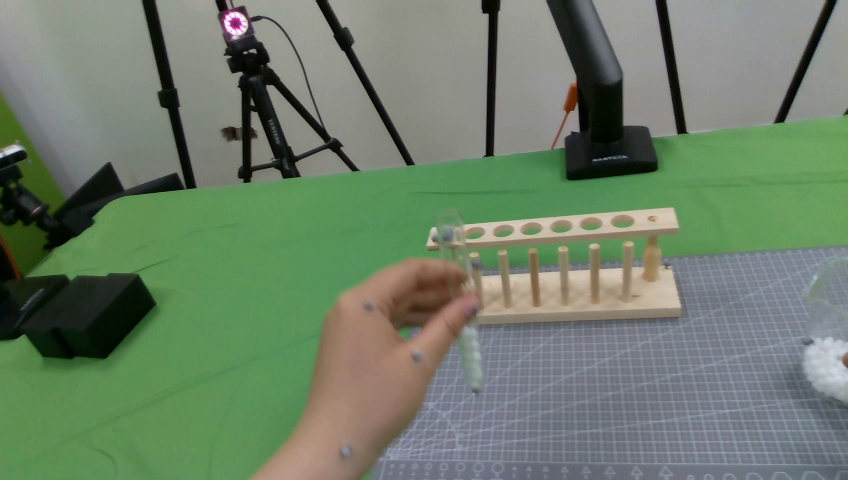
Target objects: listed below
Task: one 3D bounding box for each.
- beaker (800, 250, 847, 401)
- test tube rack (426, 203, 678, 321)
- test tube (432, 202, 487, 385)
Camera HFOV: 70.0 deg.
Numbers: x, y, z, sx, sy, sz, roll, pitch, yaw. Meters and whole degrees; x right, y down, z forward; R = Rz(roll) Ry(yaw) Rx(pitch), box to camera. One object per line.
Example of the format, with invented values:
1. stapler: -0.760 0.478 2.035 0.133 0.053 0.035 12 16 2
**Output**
1. beaker: 0.332 0.069 0.465 0.084 0.101 0.073 -5 35 16
2. test tube rack: 0.126 0.025 0.616 0.242 0.086 0.066 -4 36 14
3. test tube: 0.024 0.040 0.371 0.017 0.152 0.017 -7 40 6
